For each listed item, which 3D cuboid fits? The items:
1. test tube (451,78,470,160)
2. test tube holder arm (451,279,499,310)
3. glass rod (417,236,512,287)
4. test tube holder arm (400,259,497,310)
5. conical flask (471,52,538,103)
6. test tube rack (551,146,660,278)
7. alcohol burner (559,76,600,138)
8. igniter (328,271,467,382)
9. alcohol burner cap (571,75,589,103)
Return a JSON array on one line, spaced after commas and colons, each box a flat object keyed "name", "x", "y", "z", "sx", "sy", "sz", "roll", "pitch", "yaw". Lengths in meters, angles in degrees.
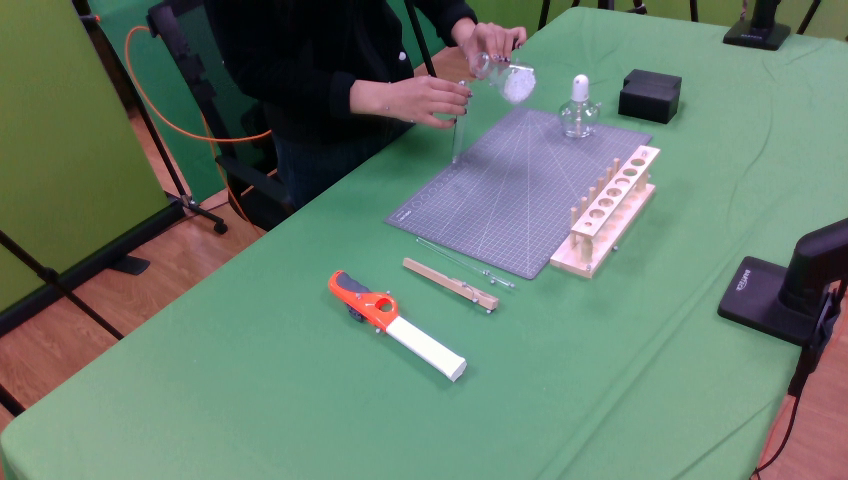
[{"name": "test tube", "x": 0.063, "y": -0.208, "z": 1.059, "sx": 0.017, "sy": 0.150, "sz": 0.017, "roll": 4, "pitch": 33, "yaw": -2}, {"name": "test tube holder arm", "x": 0.071, "y": 0.079, "z": 0.882, "sx": 0.087, "sy": 0.015, "sz": 0.010, "roll": 23, "pitch": 14, "yaw": 34}, {"name": "glass rod", "x": 0.059, "y": 0.032, "z": 0.945, "sx": 0.198, "sy": 0.008, "sz": 0.008, "roll": 27, "pitch": 52, "yaw": 38}, {"name": "test tube holder arm", "x": 0.033, "y": 0.064, "z": 0.902, "sx": 0.177, "sy": 0.015, "sz": 0.013, "roll": 23, "pitch": 14, "yaw": 32}, {"name": "conical flask", "x": 0.136, "y": -0.290, "z": 1.056, "sx": 0.123, "sy": 0.075, "sz": 0.074, "roll": 9, "pitch": 23, "yaw": -43}, {"name": "test tube rack", "x": 0.286, "y": -0.053, "z": 0.943, "sx": 0.066, "sy": 0.085, "sz": 0.243, "roll": 21, "pitch": 49, "yaw": 32}, {"name": "alcohol burner", "x": 0.298, "y": -0.258, "z": 1.156, "sx": 0.078, "sy": 0.119, "sz": 0.077, "roll": -4, "pitch": 39, "yaw": 4}, {"name": "igniter", "x": -0.049, "y": 0.114, "z": 0.854, "sx": 0.274, "sy": 0.025, "sz": 0.057, "roll": 29, "pitch": 63, "yaw": 37}, {"name": "alcohol burner cap", "x": 0.294, "y": -0.285, "z": 1.132, "sx": 0.034, "sy": 0.048, "sz": 0.033, "roll": -4, "pitch": 46, "yaw": 5}]
